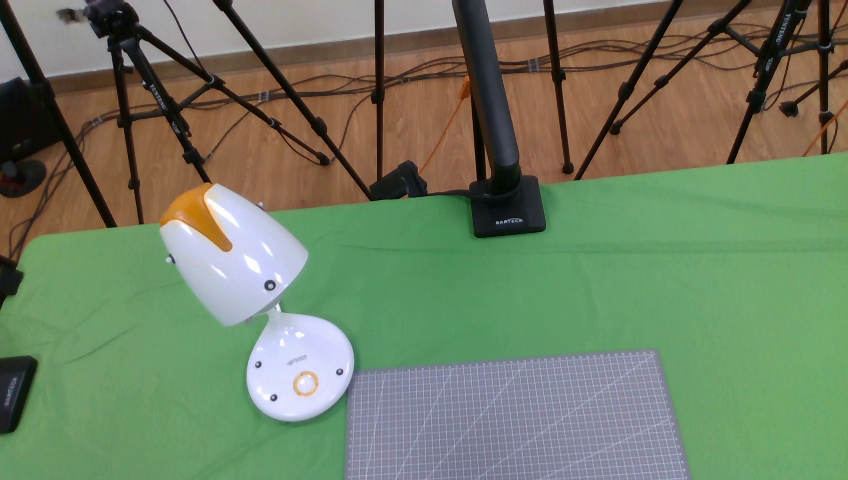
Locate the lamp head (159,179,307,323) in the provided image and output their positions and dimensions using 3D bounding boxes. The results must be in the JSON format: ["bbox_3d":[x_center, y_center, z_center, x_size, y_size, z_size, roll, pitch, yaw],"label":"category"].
[{"bbox_3d":[-0.194,0.001,0.591,0.112,0.124,0.111,-34,19,14],"label":"lamp head"}]

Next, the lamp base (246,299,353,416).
[{"bbox_3d":[-0.201,0.133,0.843,0.160,0.182,0.177,-31,56,-13],"label":"lamp base"}]
